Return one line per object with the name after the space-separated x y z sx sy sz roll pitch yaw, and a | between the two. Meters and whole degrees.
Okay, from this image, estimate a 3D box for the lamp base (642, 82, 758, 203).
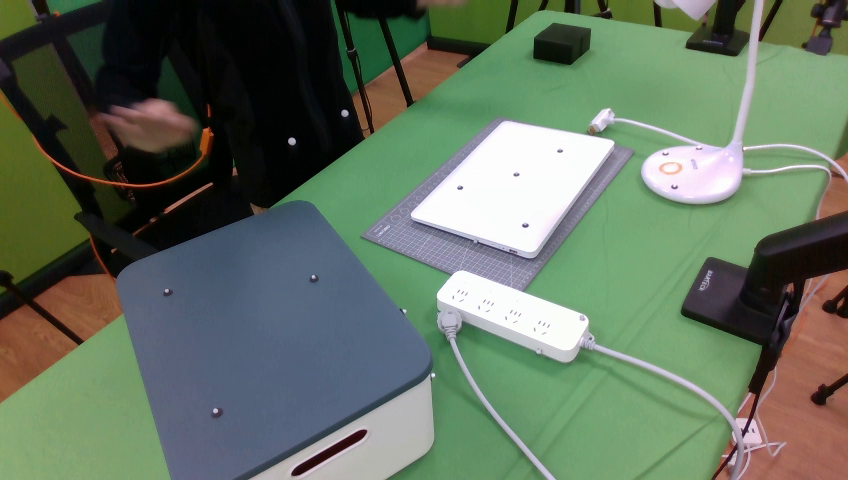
0.464 -0.174 0.992 0.179 0.181 0.159 -5 41 -1 | lamp base

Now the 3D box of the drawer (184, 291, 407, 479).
-0.155 0.180 0.720 0.195 0.073 0.210 -27 41 -21 | drawer

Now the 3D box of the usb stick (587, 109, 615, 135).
0.344 -0.229 1.184 0.059 0.021 0.027 -47 21 -8 | usb stick

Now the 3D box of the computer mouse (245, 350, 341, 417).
-0.164 0.173 0.754 0.118 0.041 0.062 -18 33 -18 | computer mouse

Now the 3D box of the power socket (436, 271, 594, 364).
0.118 0.102 0.830 0.225 0.033 0.072 20 49 28 | power socket

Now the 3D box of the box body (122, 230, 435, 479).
-0.175 0.142 0.725 0.255 0.161 0.360 -25 43 -20 | box body

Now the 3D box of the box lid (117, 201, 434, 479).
-0.182 0.087 0.675 0.264 0.015 0.368 -25 42 -20 | box lid

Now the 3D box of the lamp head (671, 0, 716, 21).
0.375 -0.373 0.807 0.122 0.113 0.112 -40 27 32 | lamp head

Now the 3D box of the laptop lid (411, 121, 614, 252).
0.164 -0.112 1.068 0.240 0.013 0.357 19 46 30 | laptop lid

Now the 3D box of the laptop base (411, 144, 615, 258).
0.167 -0.102 1.074 0.234 0.023 0.355 17 45 30 | laptop base

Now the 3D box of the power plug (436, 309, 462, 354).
0.030 0.126 0.809 0.035 0.053 0.072 7 57 10 | power plug
